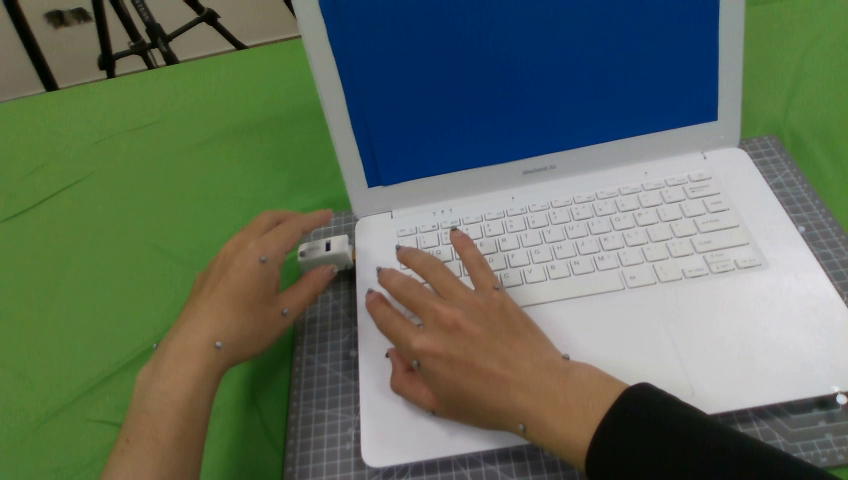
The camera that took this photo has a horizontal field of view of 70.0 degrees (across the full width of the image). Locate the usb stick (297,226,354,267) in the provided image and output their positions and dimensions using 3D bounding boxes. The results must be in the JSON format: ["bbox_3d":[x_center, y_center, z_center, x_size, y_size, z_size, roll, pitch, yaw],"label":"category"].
[{"bbox_3d":[-0.079,0.005,0.530,0.059,0.027,0.021,-8,48,2],"label":"usb stick"}]

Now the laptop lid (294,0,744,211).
[{"bbox_3d":[0.084,-0.157,0.498,0.356,0.244,0.013,-12,28,4],"label":"laptop lid"}]

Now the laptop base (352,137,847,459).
[{"bbox_3d":[0.119,0.033,0.479,0.354,0.023,0.233,-11,52,4],"label":"laptop base"}]
